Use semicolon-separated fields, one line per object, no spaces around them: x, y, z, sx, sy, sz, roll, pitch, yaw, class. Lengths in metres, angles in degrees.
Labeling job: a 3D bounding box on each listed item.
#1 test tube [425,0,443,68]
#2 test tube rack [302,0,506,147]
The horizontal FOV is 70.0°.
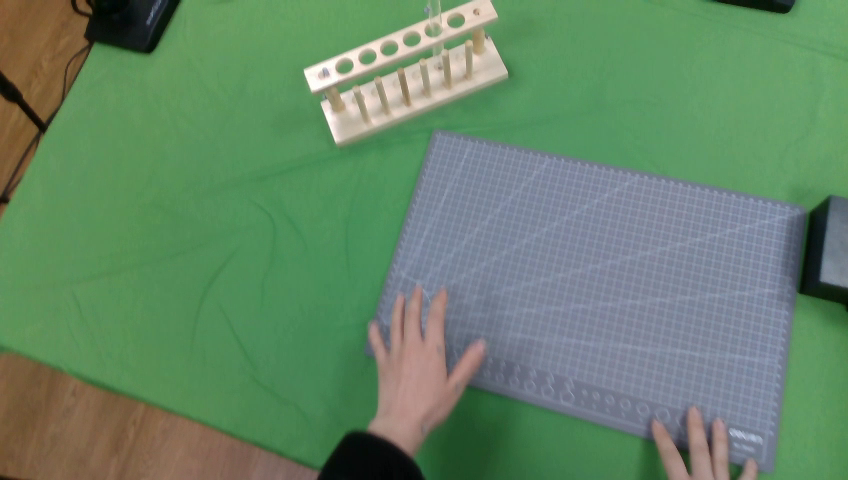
0.013;-0.253;0.725;0.017;0.151;0.017;-1;71;4;test tube
-0.020;-0.208;0.766;0.242;0.086;0.066;-22;70;-1;test tube rack
